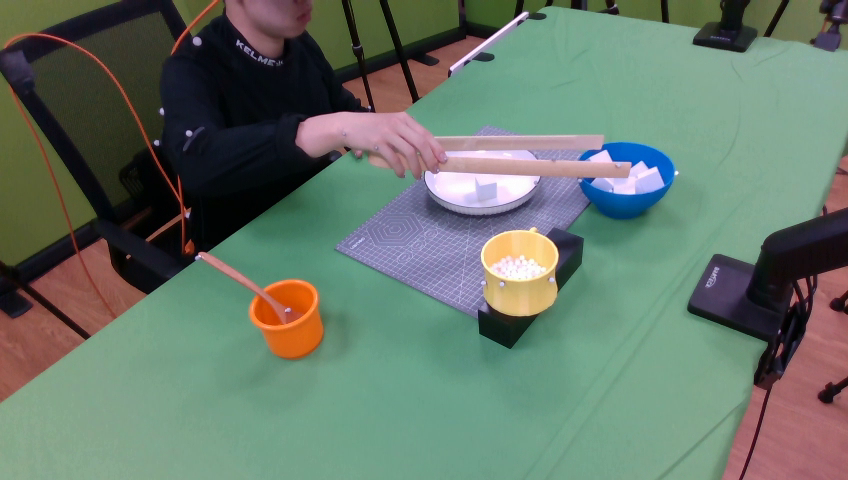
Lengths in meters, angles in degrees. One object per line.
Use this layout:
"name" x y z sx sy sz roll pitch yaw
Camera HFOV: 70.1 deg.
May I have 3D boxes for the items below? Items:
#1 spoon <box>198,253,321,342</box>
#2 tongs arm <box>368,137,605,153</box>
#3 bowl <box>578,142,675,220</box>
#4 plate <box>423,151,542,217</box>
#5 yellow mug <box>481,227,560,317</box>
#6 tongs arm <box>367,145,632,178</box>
"spoon" -0.220 0.075 0.814 0.021 0.194 0.041 -37 18 39
"tongs arm" 0.104 -0.145 0.939 0.389 0.028 0.028 -3 35 -12
"bowl" 0.322 -0.086 0.980 0.151 0.077 0.150 -4 40 4
"plate" 0.103 -0.103 1.059 0.207 0.039 0.206 -4 40 4
"yellow mug" 0.131 0.032 0.801 0.099 0.064 0.131 11 43 20
"tongs arm" 0.110 -0.115 0.887 0.386 0.026 0.050 0 31 -6
